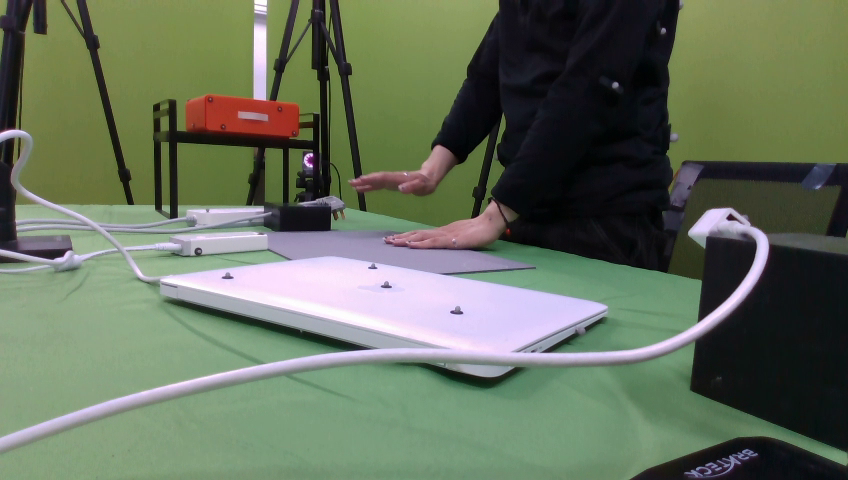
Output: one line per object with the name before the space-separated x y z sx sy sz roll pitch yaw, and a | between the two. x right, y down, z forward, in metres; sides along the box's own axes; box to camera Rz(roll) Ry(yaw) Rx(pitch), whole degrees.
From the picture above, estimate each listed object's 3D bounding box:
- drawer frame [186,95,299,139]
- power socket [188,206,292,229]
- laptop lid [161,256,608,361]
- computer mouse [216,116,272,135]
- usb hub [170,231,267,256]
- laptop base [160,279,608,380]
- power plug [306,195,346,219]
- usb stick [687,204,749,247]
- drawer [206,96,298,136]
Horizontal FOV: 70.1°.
drawer frame | -0.417 -0.277 1.378 0.203 0.082 0.212 -3 8 -32
power socket | -0.363 -0.048 1.209 0.072 0.032 0.228 7 9 36
laptop lid | -0.037 0.046 0.556 0.355 0.013 0.243 8 8 35
computer mouse | -0.402 -0.257 1.353 0.118 0.041 0.062 -5 14 -35
usb hub | -0.290 0.004 0.862 0.049 0.025 0.126 10 11 42
laptop base | -0.039 0.059 0.556 0.352 0.023 0.237 8 7 33
power plug | -0.192 -0.061 1.200 0.073 0.052 0.035 -17 -6 -9
usb stick | 0.214 -0.010 0.448 0.021 0.027 0.059 39 2 6
drawer | -0.414 -0.276 1.376 0.195 0.073 0.210 -3 9 -31
